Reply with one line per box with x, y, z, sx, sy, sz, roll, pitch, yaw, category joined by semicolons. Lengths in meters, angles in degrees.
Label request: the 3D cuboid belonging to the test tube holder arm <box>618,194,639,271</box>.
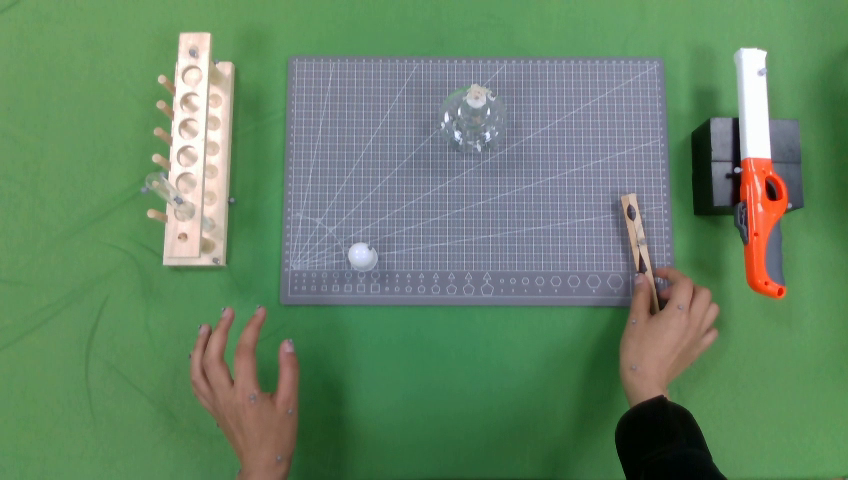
0.235;-0.008;0.692;0.010;0.015;0.087;-12;85;21;test tube holder arm

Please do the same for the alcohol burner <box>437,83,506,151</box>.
0.052;-0.140;0.661;0.078;0.119;0.077;0;82;2;alcohol burner

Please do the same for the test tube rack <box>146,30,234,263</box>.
-0.261;-0.099;0.669;0.067;0.085;0.241;0;82;0;test tube rack

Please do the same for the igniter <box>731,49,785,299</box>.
0.358;-0.075;0.653;0.057;0.025;0.275;2;79;-3;igniter

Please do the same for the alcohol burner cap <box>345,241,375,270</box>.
-0.073;0.015;0.674;0.034;0.048;0.034;0;82;-1;alcohol burner cap

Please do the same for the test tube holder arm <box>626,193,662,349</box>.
0.249;0.035;0.687;0.013;0.015;0.178;-13;85;21;test tube holder arm

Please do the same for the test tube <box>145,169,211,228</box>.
-0.244;-0.038;0.611;0.017;0.151;0.017;1;75;-2;test tube
